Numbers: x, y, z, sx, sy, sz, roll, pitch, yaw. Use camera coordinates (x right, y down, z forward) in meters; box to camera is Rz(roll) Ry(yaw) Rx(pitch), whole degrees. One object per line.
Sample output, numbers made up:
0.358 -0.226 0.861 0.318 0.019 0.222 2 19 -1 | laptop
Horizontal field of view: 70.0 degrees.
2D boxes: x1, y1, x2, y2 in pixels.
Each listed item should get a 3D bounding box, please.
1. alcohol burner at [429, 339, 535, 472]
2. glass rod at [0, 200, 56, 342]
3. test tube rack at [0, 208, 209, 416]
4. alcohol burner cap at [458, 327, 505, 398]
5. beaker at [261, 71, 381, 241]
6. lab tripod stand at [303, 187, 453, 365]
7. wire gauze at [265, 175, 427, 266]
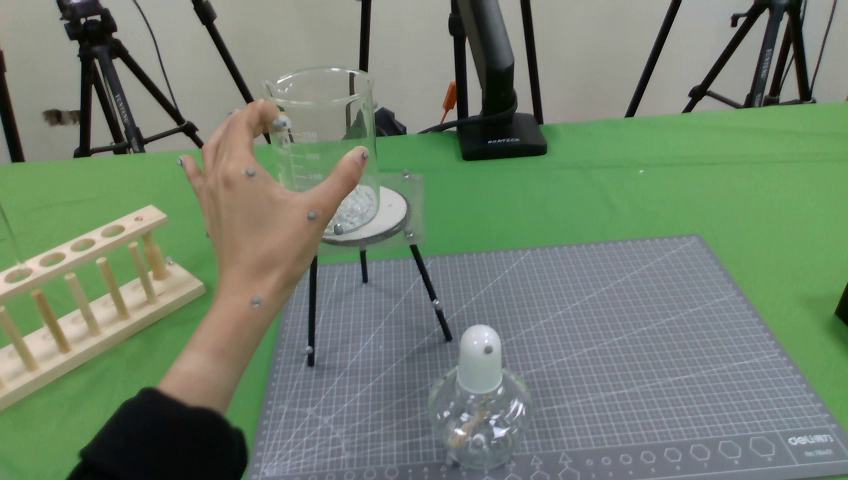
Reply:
0.041 0.110 0.433 0.078 0.120 0.077 -2 37 2 | alcohol burner
-0.359 0.008 0.532 0.008 0.201 0.008 -2 28 1 | glass rod
-0.333 0.067 0.560 0.066 0.086 0.242 26 45 36 | test tube rack
0.040 0.080 0.412 0.034 0.048 0.033 0 37 0 | alcohol burner cap
-0.069 -0.057 0.418 0.083 0.101 0.074 22 39 32 | beaker
-0.046 0.030 0.538 0.148 0.132 0.147 -1 34 1 | lab tripod stand
-0.059 -0.022 0.497 0.121 0.011 0.124 -2 36 1 | wire gauze
